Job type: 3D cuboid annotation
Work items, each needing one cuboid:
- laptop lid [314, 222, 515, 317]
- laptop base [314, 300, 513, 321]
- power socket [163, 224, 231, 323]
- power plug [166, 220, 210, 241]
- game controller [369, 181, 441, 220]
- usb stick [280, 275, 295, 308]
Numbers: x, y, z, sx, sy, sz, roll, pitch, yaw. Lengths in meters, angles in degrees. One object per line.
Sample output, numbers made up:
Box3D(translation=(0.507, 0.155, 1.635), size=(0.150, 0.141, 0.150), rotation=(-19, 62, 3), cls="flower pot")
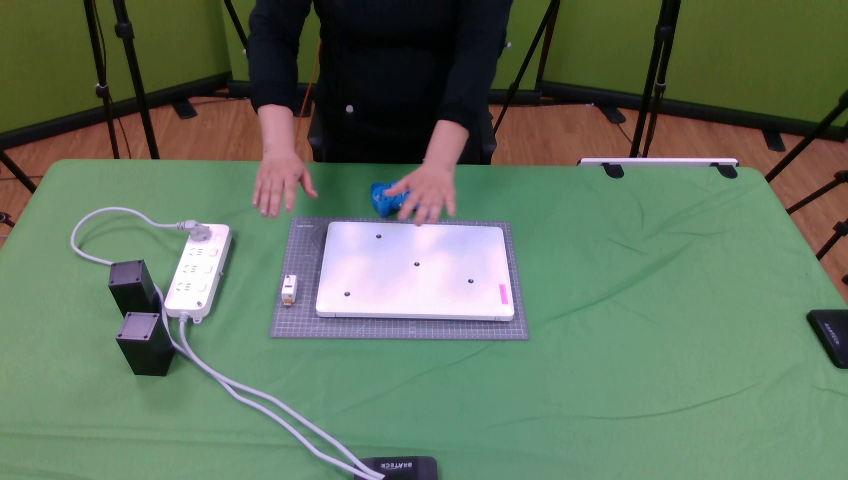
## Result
Box3D(translation=(-0.016, 0.049, 1.134), size=(0.357, 0.013, 0.240), rotation=(3, 43, -2), cls="laptop lid")
Box3D(translation=(-0.017, 0.059, 1.141), size=(0.354, 0.023, 0.234), rotation=(2, 42, -3), cls="laptop base")
Box3D(translation=(-0.410, 0.052, 1.107), size=(0.072, 0.033, 0.225), rotation=(3, 46, -3), cls="power socket")
Box3D(translation=(-0.440, -0.016, 1.144), size=(0.072, 0.053, 0.035), rotation=(7, 46, 8), cls="power plug")
Box3D(translation=(-0.039, -0.092, 1.268), size=(0.155, 0.052, 0.096), rotation=(1, 50, -2), cls="game controller")
Box3D(translation=(-0.244, 0.093, 1.080), size=(0.021, 0.027, 0.059), rotation=(3, 48, -4), cls="usb stick")
